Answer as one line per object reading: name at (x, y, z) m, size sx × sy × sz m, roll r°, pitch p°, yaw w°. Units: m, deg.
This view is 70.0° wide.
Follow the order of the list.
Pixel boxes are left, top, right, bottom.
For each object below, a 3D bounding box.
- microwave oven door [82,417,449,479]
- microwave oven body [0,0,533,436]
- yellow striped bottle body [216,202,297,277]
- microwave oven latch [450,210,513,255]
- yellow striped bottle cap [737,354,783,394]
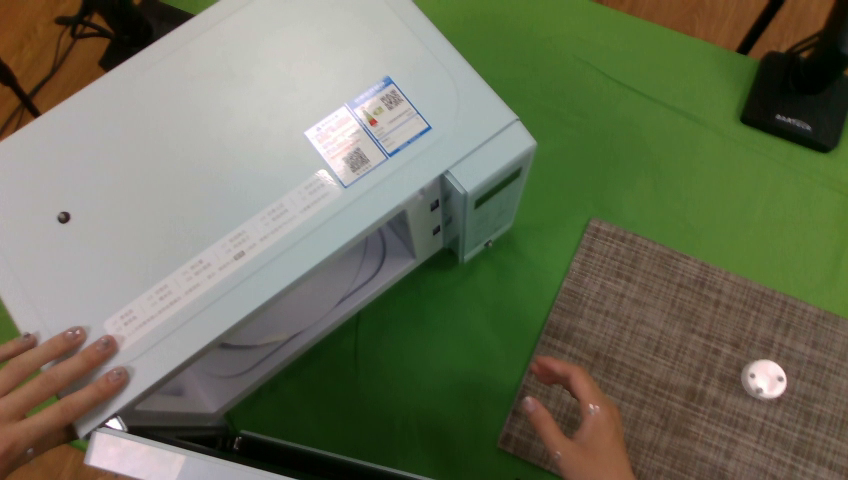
microwave oven door at (-0.081, 0.223, 0.555) m, size 0.355 × 0.245 × 0.039 m, roll 12°, pitch 74°, yaw 5°
microwave oven body at (-0.167, -0.048, 0.640) m, size 0.441 × 0.261 × 0.324 m, roll -38°, pitch 77°, yaw -7°
yellow striped bottle body at (-0.175, -0.001, 0.633) m, size 0.063 × 0.120 × 0.062 m, roll 0°, pitch 78°, yaw -1°
microwave oven latch at (0.068, -0.017, 0.723) m, size 0.079 × 0.029 × 0.030 m, roll -35°, pitch 76°, yaw -7°
yellow striped bottle cap at (0.382, 0.153, 0.689) m, size 0.044 × 0.019 × 0.044 m, roll -1°, pitch 74°, yaw 4°
